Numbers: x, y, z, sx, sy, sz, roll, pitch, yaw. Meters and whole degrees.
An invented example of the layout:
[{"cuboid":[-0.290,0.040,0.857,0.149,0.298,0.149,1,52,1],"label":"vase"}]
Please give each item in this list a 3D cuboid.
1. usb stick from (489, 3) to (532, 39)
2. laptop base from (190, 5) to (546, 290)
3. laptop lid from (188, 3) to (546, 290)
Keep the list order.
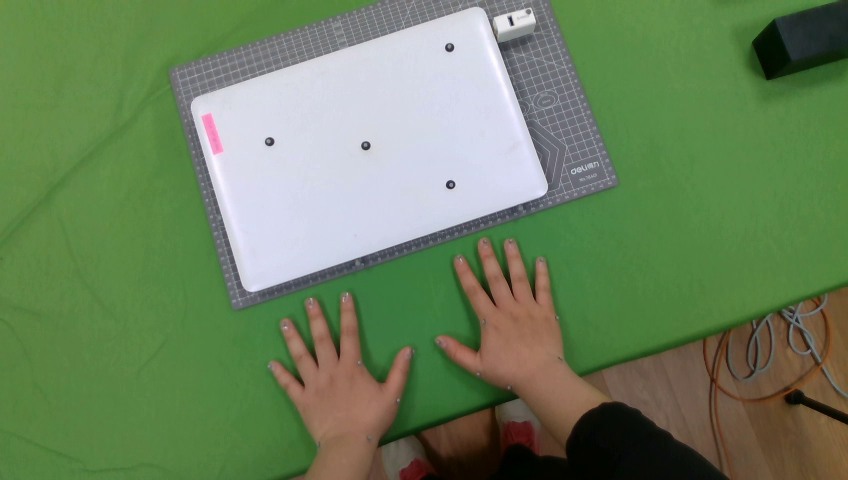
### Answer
[{"cuboid":[0.091,-0.246,0.687,0.059,0.027,0.021,-17,81,2],"label":"usb stick"},{"cuboid":[-0.066,-0.108,0.684,0.354,0.023,0.235,-19,84,-1],"label":"laptop base"},{"cuboid":[-0.066,-0.107,0.672,0.357,0.013,0.241,-17,83,0],"label":"laptop lid"}]
